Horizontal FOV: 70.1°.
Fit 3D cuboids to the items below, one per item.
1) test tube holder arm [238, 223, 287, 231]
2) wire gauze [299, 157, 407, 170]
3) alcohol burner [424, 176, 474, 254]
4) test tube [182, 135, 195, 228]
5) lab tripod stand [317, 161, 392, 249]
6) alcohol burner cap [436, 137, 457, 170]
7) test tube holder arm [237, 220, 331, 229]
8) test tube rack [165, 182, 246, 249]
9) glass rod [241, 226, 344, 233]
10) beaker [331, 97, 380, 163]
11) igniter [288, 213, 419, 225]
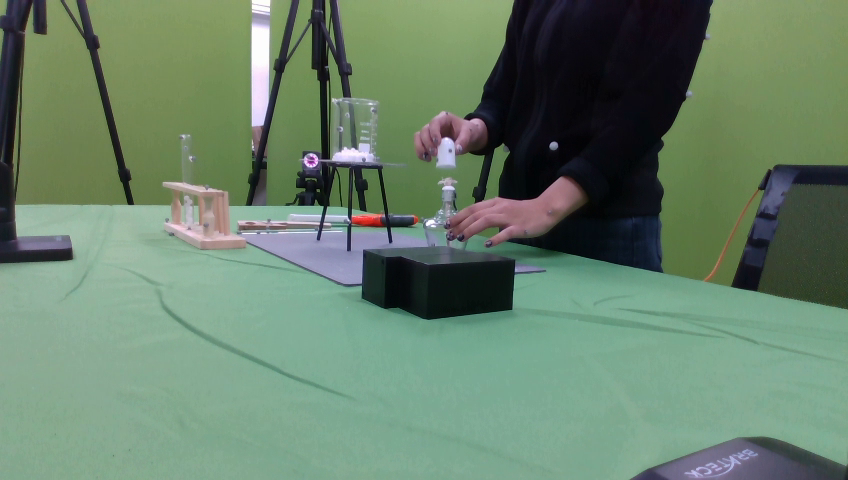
[{"bbox_3d":[-0.296,-0.024,1.112,0.088,0.015,0.010,-1,41,-32],"label":"test tube holder arm"},{"bbox_3d":[-0.112,-0.124,0.959,0.121,0.011,0.126,13,11,40],"label":"wire gauze"},{"bbox_3d":[0.038,-0.038,0.930,0.078,0.119,0.078,1,8,0],"label":"alcohol burner"},{"bbox_3d":[-0.382,-0.095,0.983,0.017,0.150,0.017,-1,2,0],"label":"test tube"},{"bbox_3d":[-0.111,-0.059,0.963,0.148,0.131,0.148,4,8,0],"label":"lab tripod stand"},{"bbox_3d":[0.034,-0.134,0.929,0.034,0.048,0.034,0,-3,0],"label":"alcohol burner cap"},{"bbox_3d":[-0.260,-0.028,1.140,0.179,0.015,0.013,-1,41,-32],"label":"test tube holder arm"},{"bbox_3d":[-0.360,-0.045,0.982,0.067,0.085,0.241,-3,9,-34],"label":"test tube rack"},{"bbox_3d":[-0.239,-0.019,1.118,0.201,0.008,0.008,-3,9,-33],"label":"glass rod"},{"bbox_3d":[-0.111,-0.171,0.950,0.073,0.100,0.084,12,12,42],"label":"beaker"},{"bbox_3d":[-0.145,-0.044,1.278,0.278,0.025,0.057,-1,-2,-21],"label":"igniter"}]
